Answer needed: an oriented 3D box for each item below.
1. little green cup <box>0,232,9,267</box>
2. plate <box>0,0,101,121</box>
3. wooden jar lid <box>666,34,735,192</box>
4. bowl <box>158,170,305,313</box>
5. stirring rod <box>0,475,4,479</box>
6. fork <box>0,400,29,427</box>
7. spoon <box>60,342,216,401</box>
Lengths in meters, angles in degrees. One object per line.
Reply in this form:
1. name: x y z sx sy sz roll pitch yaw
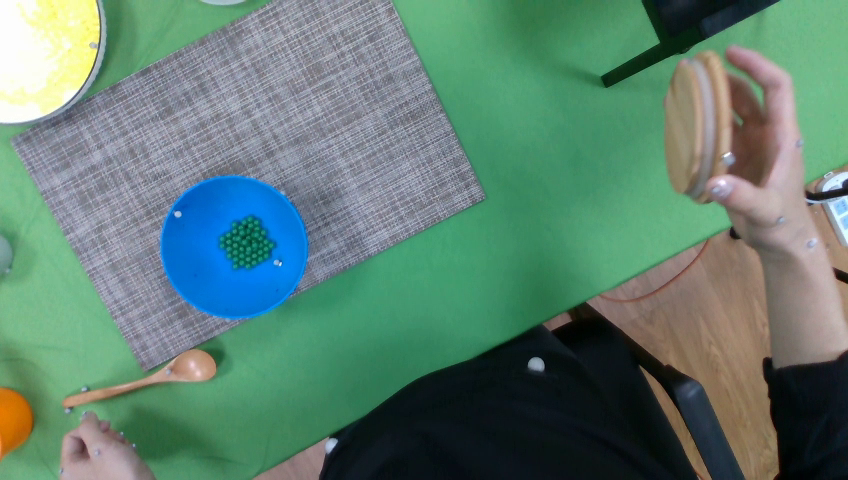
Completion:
1. little green cup: -0.501 0.011 0.676 0.061 0.038 0.061 0 98 -2
2. plate: -0.449 -0.232 0.648 0.209 0.038 0.209 0 97 -3
3. wooden jar lid: 0.190 -0.087 0.424 0.020 0.108 0.108 -1 97 9
4. bowl: -0.200 -0.002 0.664 0.151 0.076 0.151 0 97 -2
5. stirring rod: -0.495 0.188 0.640 0.014 0.006 0.176 -26 98 2
6. fork: -0.542 0.215 0.644 0.208 0.018 0.028 -14 102 -44
7. spoon: -0.336 0.158 0.710 0.194 0.021 0.042 -16 110 -1
